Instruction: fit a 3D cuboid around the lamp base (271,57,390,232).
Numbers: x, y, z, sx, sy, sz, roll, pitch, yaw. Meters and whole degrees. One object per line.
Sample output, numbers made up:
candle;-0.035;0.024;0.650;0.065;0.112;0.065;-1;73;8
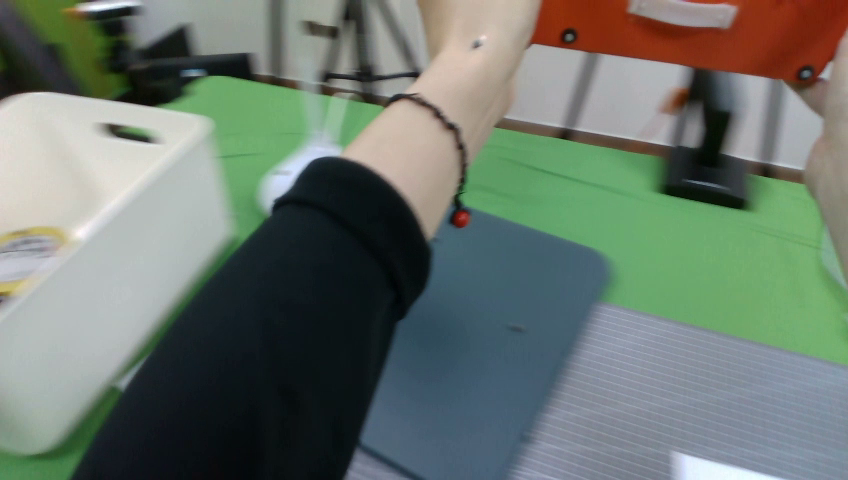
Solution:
lamp base;-0.128;-0.130;0.782;0.161;0.182;0.177;-6;37;-7

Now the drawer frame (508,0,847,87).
drawer frame;0.170;-0.212;0.437;0.201;0.083;0.211;8;48;3

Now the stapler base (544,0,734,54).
stapler base;0.152;-0.163;0.422;0.130;0.024;0.041;20;47;15

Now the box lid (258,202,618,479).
box lid;0.031;0.084;0.655;0.261;0.015;0.370;21;43;25

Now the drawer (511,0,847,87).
drawer;0.169;-0.207;0.438;0.194;0.074;0.210;9;47;4

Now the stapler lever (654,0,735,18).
stapler lever;0.151;-0.180;0.405;0.117;0.040;0.026;21;47;15

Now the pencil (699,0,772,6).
pencil;0.151;-0.187;0.444;0.192;0.012;0.012;24;45;31

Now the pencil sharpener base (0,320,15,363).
pencil sharpener base;-0.456;0.081;0.567;0.076;0.108;0.061;6;40;8

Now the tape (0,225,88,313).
tape;-0.423;0.036;0.668;0.117;0.053;0.115;1;39;-1

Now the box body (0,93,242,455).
box body;-0.387;0.010;0.622;0.253;0.162;0.362;12;41;13
